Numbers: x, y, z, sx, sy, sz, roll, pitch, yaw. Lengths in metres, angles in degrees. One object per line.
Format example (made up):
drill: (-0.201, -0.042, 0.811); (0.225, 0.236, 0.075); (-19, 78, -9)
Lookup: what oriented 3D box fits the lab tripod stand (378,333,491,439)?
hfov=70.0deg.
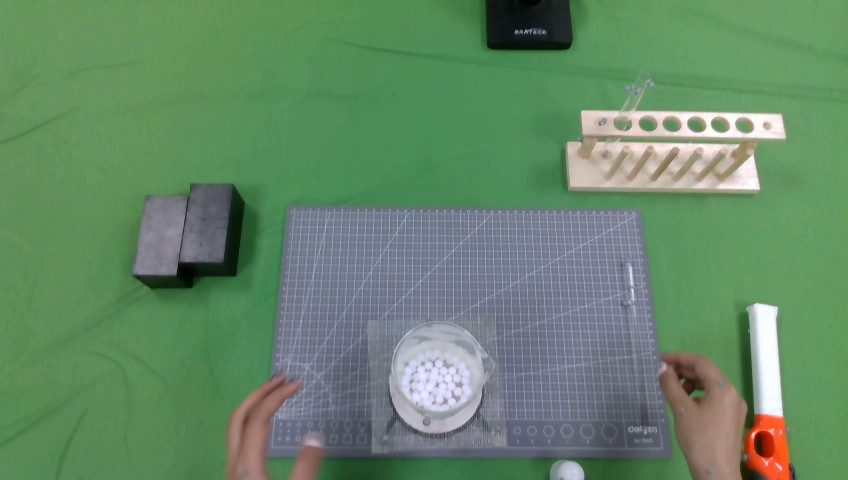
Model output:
lab tripod stand: (0.008, 0.155, 0.625); (0.148, 0.132, 0.147); (0, 69, 1)

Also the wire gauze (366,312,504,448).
wire gauze: (0.008, 0.128, 0.565); (0.125, 0.011, 0.120); (-3, 68, 0)

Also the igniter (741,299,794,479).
igniter: (0.379, 0.201, 0.674); (0.057, 0.025, 0.275); (11, 70, -8)

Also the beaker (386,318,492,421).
beaker: (0.012, 0.114, 0.518); (0.084, 0.101, 0.073); (-4, 69, -2)

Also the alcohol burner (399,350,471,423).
alcohol burner: (0.013, 0.151, 0.637); (0.078, 0.120, 0.077); (1, 68, -2)

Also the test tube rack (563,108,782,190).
test tube rack: (0.305, -0.112, 0.758); (0.242, 0.086, 0.066); (1, 69, 0)

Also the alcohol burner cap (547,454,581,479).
alcohol burner cap: (0.152, 0.245, 0.647); (0.034, 0.048, 0.033); (0, 68, 1)

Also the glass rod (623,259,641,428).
glass rod: (0.243, 0.117, 0.710); (0.008, 0.008, 0.198); (2, 72, -1)

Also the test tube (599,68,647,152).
test tube: (0.233, -0.149, 0.718); (0.017, 0.151, 0.017); (0, 66, 0)
